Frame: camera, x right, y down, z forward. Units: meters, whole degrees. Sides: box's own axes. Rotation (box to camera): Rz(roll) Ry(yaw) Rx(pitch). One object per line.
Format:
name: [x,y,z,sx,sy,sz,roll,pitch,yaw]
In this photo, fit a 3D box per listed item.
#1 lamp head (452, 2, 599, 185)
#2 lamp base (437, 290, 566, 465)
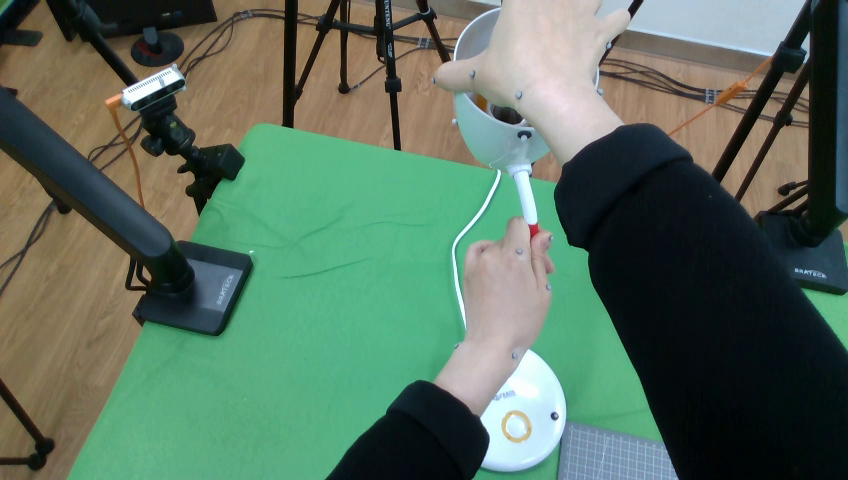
lamp head: [0.075,-0.110,0.503,0.112,0.124,0.111,1,64,-1]
lamp base: [0.093,0.146,0.686,0.161,0.182,0.177,-24,61,-17]
